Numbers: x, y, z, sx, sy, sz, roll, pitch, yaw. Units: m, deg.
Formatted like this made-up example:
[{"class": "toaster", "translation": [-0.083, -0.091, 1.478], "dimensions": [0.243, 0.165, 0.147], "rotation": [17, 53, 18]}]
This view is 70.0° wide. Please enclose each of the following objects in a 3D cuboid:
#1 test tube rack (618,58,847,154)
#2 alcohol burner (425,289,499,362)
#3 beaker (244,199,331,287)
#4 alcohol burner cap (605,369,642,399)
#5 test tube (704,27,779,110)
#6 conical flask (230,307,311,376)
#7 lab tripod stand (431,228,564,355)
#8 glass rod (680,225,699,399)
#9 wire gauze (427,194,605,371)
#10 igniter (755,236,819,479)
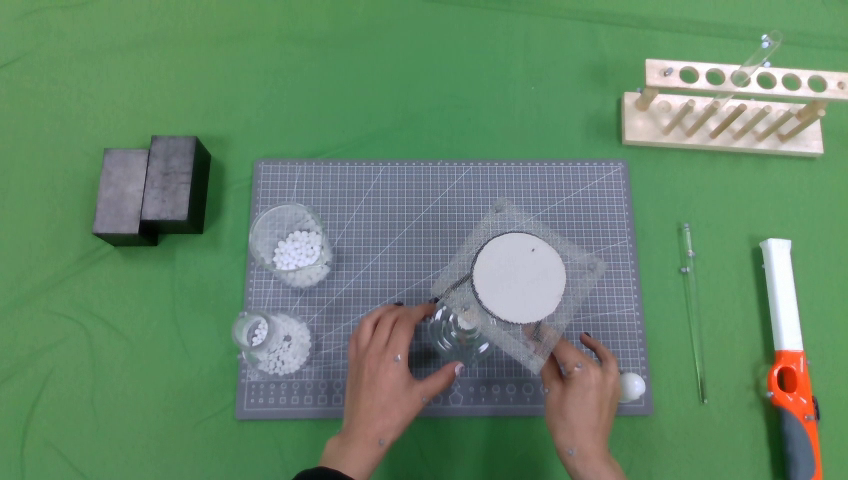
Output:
[{"class": "test tube rack", "translation": [0.363, -0.156, 0.716], "dimensions": [0.242, 0.085, 0.066], "rotation": [3, 74, 0]}, {"class": "alcohol burner", "translation": [0.040, 0.085, 0.624], "dimensions": [0.078, 0.119, 0.077], "rotation": [0, 74, 1]}, {"class": "beaker", "translation": [-0.138, 0.009, 0.647], "dimensions": [0.084, 0.100, 0.074], "rotation": [35, 77, 8]}, {"class": "alcohol burner cap", "translation": [0.215, 0.152, 0.647], "dimensions": [0.034, 0.048, 0.033], "rotation": [0, 74, -1]}, {"class": "test tube", "translation": [0.348, -0.185, 0.672], "dimensions": [0.017, 0.151, 0.017], "rotation": [0, 74, 2]}, {"class": "conical flask", "translation": [-0.160, 0.096, 0.611], "dimensions": [0.075, 0.122, 0.075], "rotation": [0, 74, -1]}, {"class": "lab tripod stand", "translation": [0.081, 0.050, 0.624], "dimensions": [0.148, 0.132, 0.147], "rotation": [0, 76, 0]}, {"class": "glass rod", "translation": [0.302, 0.079, 0.690], "dimensions": [0.008, 0.008, 0.198], "rotation": [1, 77, -1]}, {"class": "wire gauze", "translation": [0.085, 0.035, 0.559], "dimensions": [0.124, 0.011, 0.121], "rotation": [36, 78, 8]}, {"class": "igniter", "translation": [0.399, 0.130, 0.669], "dimensions": [0.057, 0.025, 0.275], "rotation": [5, 74, -11]}]
